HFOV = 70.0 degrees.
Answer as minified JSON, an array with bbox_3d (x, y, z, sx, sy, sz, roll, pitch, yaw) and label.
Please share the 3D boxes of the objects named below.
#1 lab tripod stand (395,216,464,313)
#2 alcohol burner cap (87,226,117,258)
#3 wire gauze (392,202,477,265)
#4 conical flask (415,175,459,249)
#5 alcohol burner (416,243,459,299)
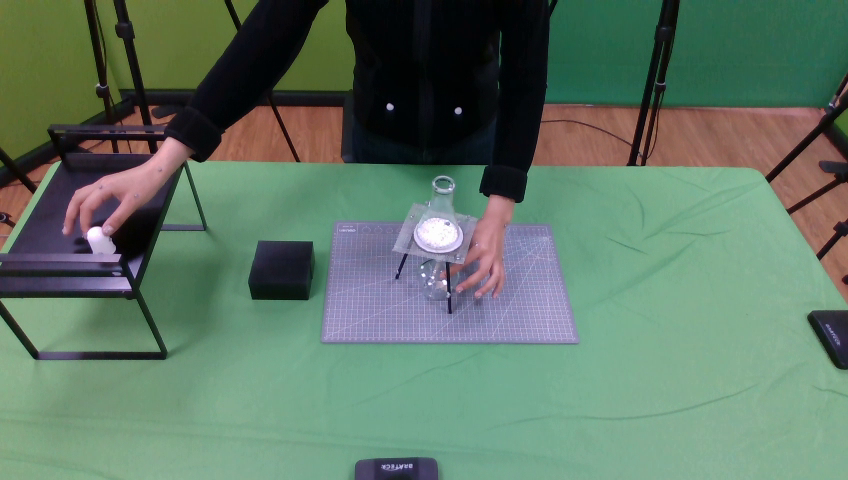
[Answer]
[{"bbox_3d":[0.024,0.037,1.084,0.148,0.132,0.147,4,46,-4],"label":"lab tripod stand"},{"bbox_3d":[-0.479,0.001,0.896,0.034,0.048,0.033,1,47,-1],"label":"alcohol burner cap"},{"bbox_3d":[0.021,-0.011,1.037,0.121,0.011,0.124,13,49,8],"label":"wire gauze"},{"bbox_3d":[0.026,-0.049,0.993,0.075,0.122,0.075,3,47,-3],"label":"conical flask"},{"bbox_3d":[0.026,0.050,1.084,0.078,0.119,0.077,3,44,-2],"label":"alcohol burner"}]
